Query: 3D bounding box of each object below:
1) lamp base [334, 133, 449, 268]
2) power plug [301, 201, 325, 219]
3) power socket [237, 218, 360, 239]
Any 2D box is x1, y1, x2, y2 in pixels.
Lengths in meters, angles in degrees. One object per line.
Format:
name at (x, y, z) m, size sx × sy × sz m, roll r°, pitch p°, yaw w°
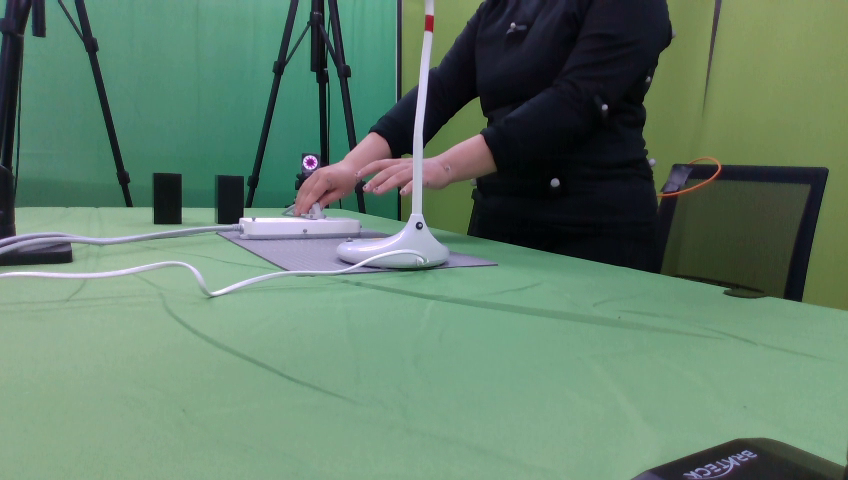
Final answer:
lamp base at (-0.034, -0.057, 0.831) m, size 0.161 × 0.180 × 0.178 m, roll -3°, pitch 11°, yaw -36°
power plug at (-0.206, -0.045, 1.121) m, size 0.035 × 0.052 × 0.072 m, roll 0°, pitch 4°, yaw -19°
power socket at (-0.220, -0.023, 1.079) m, size 0.228 × 0.032 × 0.072 m, roll -2°, pitch 8°, yaw -32°
